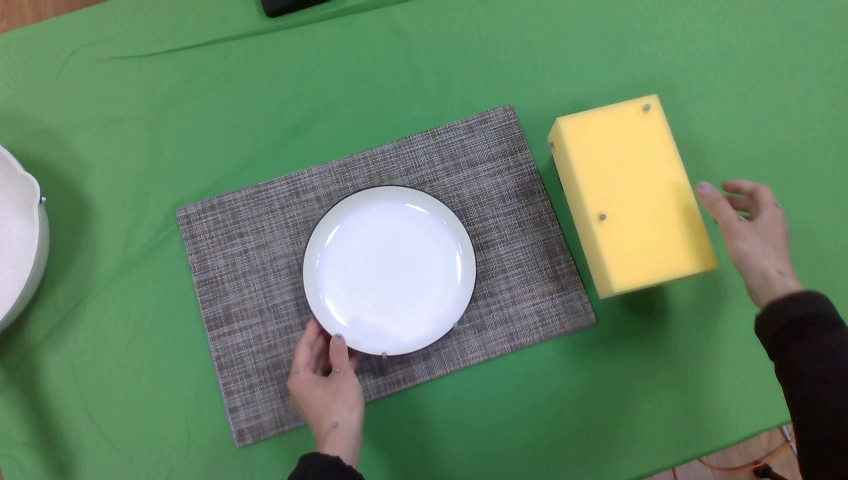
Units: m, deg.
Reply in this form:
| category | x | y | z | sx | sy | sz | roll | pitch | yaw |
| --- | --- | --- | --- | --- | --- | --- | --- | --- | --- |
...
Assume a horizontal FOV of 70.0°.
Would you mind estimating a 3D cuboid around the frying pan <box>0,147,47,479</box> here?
| category | x | y | z | sx | sy | sz | roll | pitch | yaw |
| --- | --- | --- | --- | --- | --- | --- | --- | --- | --- |
| frying pan | -0.543 | 0.095 | 0.685 | 0.307 | 0.103 | 0.484 | -26 | 71 | -4 |

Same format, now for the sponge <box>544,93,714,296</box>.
| category | x | y | z | sx | sy | sz | roll | pitch | yaw |
| --- | --- | --- | --- | --- | --- | --- | --- | --- | --- |
| sponge | 0.227 | -0.051 | 0.687 | 0.118 | 0.061 | 0.206 | -15 | 79 | -3 |

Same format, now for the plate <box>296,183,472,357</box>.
| category | x | y | z | sx | sy | sz | roll | pitch | yaw |
| --- | --- | --- | --- | --- | --- | --- | --- | --- | --- |
| plate | -0.047 | 0.036 | 0.728 | 0.208 | 0.039 | 0.206 | 0 | 78 | 0 |
